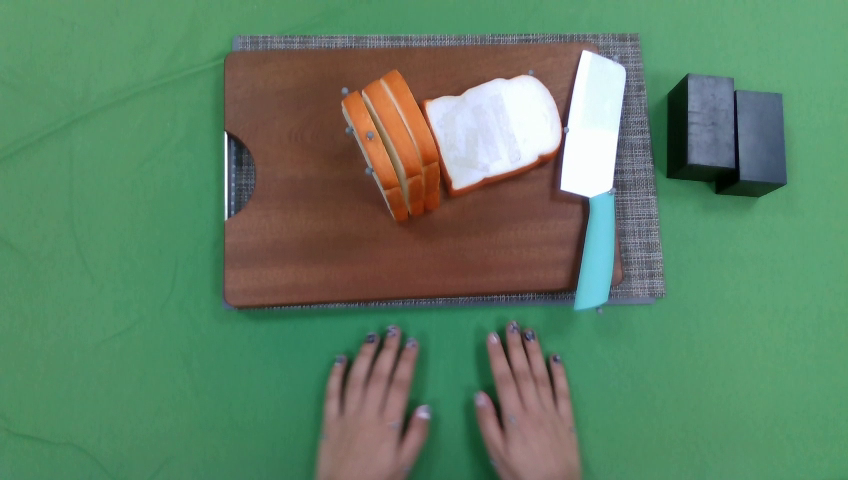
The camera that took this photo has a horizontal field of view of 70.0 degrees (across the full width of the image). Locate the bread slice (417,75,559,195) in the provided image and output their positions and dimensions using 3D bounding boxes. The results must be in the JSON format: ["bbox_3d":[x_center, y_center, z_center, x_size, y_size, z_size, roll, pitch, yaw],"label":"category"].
[{"bbox_3d":[0.071,-0.113,0.626,0.134,0.018,0.106,-15,84,-2],"label":"bread slice"}]

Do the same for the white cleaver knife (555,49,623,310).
[{"bbox_3d":[0.167,-0.068,0.629,0.066,0.021,0.285,11,74,-6],"label":"white cleaver knife"}]

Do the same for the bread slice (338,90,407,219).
[{"bbox_3d":[-0.048,-0.079,0.562,0.019,0.132,0.104,-26,80,-2],"label":"bread slice"}]
